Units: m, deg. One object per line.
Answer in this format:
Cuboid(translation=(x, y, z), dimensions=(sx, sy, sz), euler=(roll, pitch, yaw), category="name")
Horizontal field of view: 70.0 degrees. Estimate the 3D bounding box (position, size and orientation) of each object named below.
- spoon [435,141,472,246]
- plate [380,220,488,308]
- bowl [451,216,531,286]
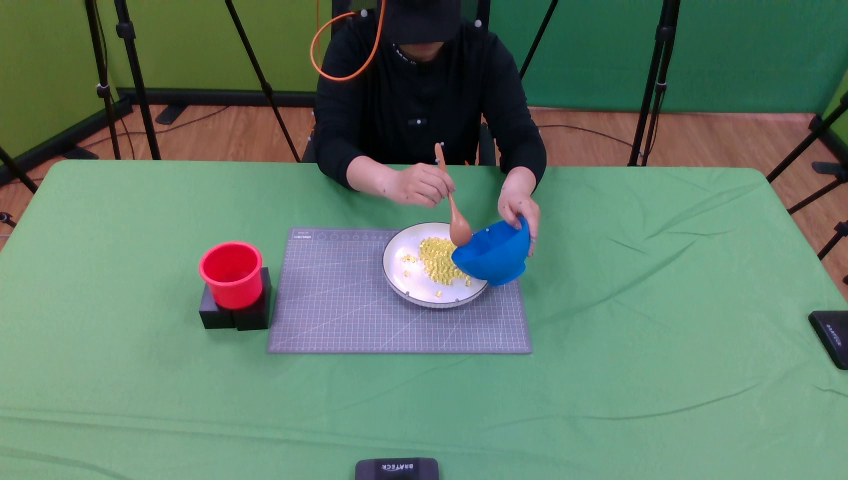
Cuboid(translation=(0.046, -0.081, 1.087), dimensions=(0.041, 0.194, 0.021), euler=(-16, 4, -3), category="spoon")
Cuboid(translation=(0.022, 0.048, 1.137), dimensions=(0.208, 0.039, 0.206), euler=(2, 46, -2), category="plate")
Cuboid(translation=(0.131, 0.028, 1.068), dimensions=(0.151, 0.077, 0.151), euler=(-28, 14, 8), category="bowl")
